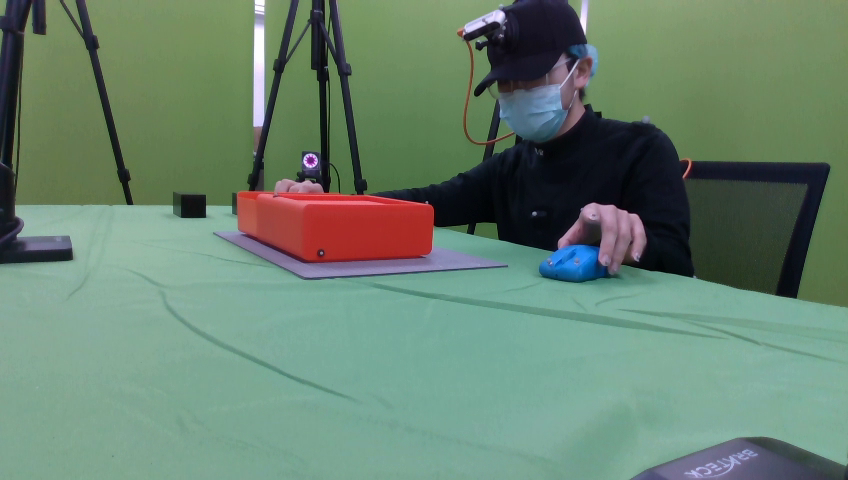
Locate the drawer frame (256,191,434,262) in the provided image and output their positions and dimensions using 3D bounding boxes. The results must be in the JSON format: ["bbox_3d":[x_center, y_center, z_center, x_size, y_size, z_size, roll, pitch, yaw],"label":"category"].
[{"bbox_3d":[-0.125,-0.026,0.910,0.203,0.082,0.212,-1,9,-32],"label":"drawer frame"}]

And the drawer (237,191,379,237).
[{"bbox_3d":[-0.186,-0.040,1.006,0.195,0.073,0.210,-1,7,-32],"label":"drawer"}]

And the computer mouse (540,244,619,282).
[{"bbox_3d":[0.206,0.029,0.796,0.062,0.041,0.118,12,14,42],"label":"computer mouse"}]
